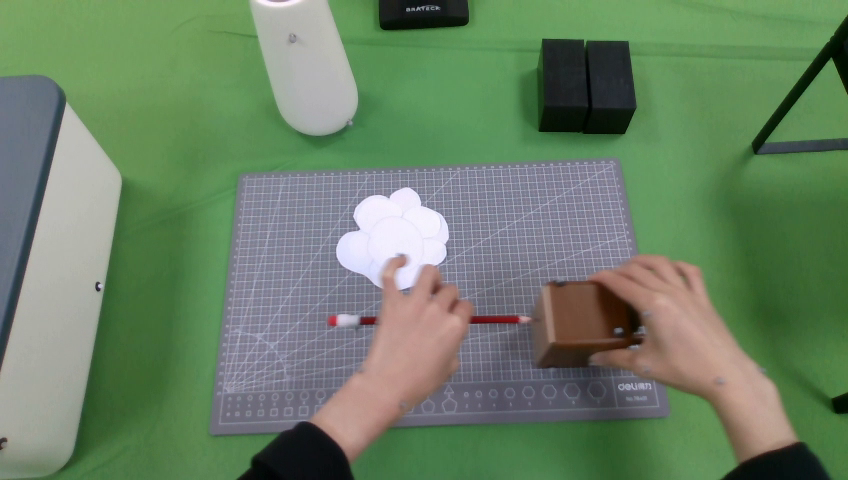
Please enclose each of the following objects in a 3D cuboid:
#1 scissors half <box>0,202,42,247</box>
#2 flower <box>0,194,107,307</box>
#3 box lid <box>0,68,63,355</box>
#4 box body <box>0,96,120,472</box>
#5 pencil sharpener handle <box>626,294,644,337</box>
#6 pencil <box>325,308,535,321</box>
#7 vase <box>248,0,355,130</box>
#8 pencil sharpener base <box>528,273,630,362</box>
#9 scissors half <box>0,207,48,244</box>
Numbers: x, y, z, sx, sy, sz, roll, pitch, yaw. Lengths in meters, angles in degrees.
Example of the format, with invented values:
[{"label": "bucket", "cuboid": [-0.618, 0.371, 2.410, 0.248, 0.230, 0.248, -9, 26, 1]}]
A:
[{"label": "scissors half", "cuboid": [-0.501, 0.018, 0.671, 0.175, 0.040, 0.012, -35, 31, -6]}, {"label": "flower", "cuboid": [-0.463, 0.069, 0.659, 0.038, 0.044, 0.359, -10, 39, 33]}, {"label": "box lid", "cuboid": [-0.469, 0.003, 0.513, 0.263, 0.015, 0.368, -3, 65, -2]}, {"label": "box body", "cuboid": [-0.467, 0.038, 0.581, 0.254, 0.161, 0.361, -4, 65, 0]}, {"label": "pencil sharpener handle", "cuboid": [0.195, 0.073, 0.562, 0.030, 0.068, 0.035, -2, 56, 1]}, {"label": "pencil", "cuboid": [0.005, 0.069, 0.556, 0.194, 0.012, 0.012, 0, 65, -1]}, {"label": "vase", "cuboid": [-0.136, -0.212, 0.668, 0.098, 0.201, 0.097, -1, 64, 3]}, {"label": "pencil sharpener base", "cuboid": [0.144, 0.076, 0.575, 0.077, 0.108, 0.061, -2, 68, 1]}, {"label": "scissors half", "cuboid": [-0.506, 0.007, 0.663, 0.175, 0.040, 0.012, -27, 36, -13]}]
